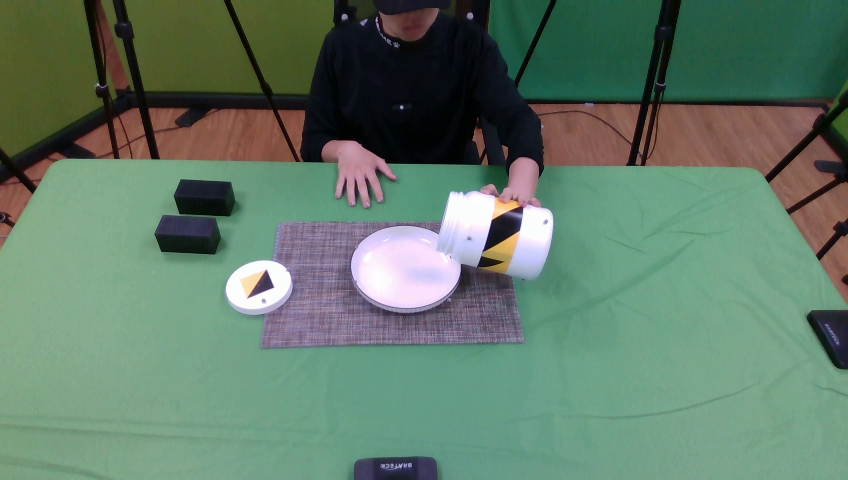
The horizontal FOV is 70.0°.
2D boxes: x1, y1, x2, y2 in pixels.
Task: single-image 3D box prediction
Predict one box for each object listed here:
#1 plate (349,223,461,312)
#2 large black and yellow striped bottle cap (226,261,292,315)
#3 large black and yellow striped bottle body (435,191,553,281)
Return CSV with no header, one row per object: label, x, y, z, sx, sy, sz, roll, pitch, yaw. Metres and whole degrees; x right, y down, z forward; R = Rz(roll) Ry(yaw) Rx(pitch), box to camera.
plate,-0.035,0.054,1.126,0.208,0.039,0.206,2,46,-2
large black and yellow striped bottle cap,-0.298,0.085,1.092,0.115,0.019,0.114,0,45,1
large black and yellow striped bottle body,0.119,-0.011,1.056,0.184,0.131,0.130,14,46,0
